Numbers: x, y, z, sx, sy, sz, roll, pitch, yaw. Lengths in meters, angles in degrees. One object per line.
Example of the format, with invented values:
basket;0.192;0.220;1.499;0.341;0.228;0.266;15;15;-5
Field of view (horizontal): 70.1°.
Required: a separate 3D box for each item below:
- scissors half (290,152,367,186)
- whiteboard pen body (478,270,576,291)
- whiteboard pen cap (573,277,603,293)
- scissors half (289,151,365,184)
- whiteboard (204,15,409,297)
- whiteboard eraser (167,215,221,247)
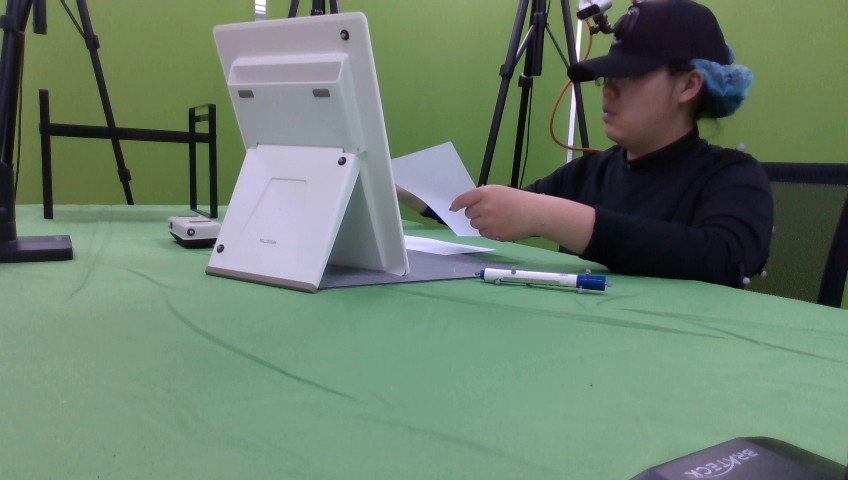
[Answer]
scissors half;-0.201;-0.150;1.274;0.176;0.013;0.040;22;8;-13
whiteboard pen body;0.131;0.048;0.706;0.140;0.017;0.017;4;8;18
whiteboard pen cap;0.186;0.051;0.687;0.033;0.018;0.018;4;8;17
scissors half;-0.206;-0.155;1.292;0.176;0.013;0.040;21;3;-30
whiteboard;-0.166;-0.072;0.669;0.216;0.305;0.144;8;30;30
whiteboard eraser;-0.350;-0.014;0.920;0.056;0.042;0.112;0;7;-35
